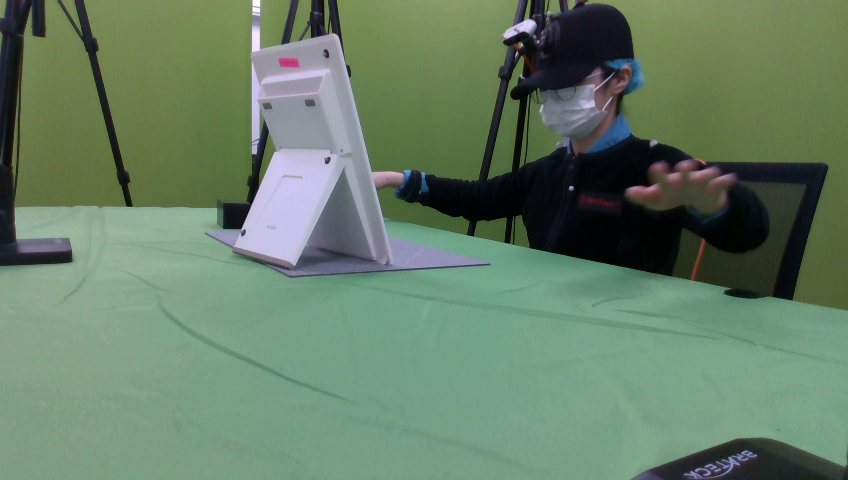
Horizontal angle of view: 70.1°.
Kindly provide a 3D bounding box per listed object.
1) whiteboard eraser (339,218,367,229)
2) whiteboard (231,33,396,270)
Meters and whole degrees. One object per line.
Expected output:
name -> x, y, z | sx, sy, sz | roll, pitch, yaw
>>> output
whiteboard eraser -> -0.146, -0.036, 1.246 | 0.041, 0.019, 0.101 | 2, 5, 9
whiteboard -> -0.193, -0.094, 0.805 | 0.144, 0.305, 0.216 | -29, 25, -35
